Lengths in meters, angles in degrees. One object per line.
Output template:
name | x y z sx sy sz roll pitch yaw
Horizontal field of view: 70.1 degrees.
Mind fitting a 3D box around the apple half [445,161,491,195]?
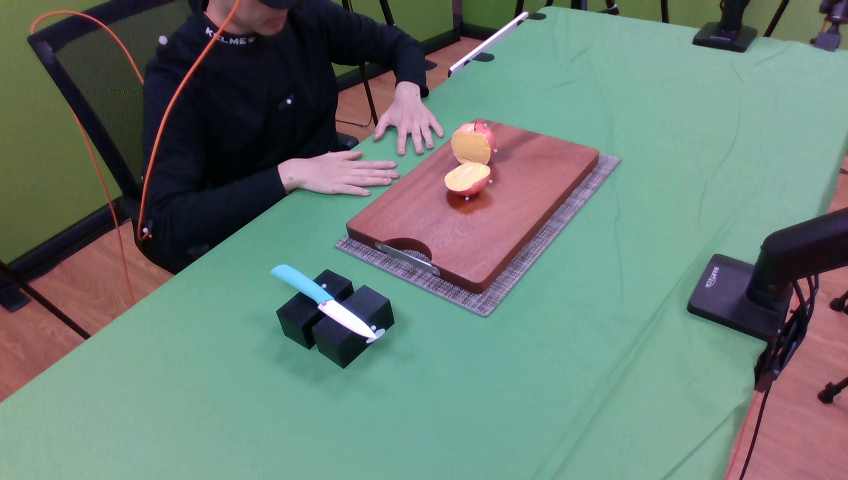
apple half | 0.076 -0.099 1.020 0.081 0.033 0.081 -16 36 12

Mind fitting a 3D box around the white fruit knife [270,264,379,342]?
white fruit knife | -0.136 0.084 0.823 0.206 0.016 0.027 30 64 30

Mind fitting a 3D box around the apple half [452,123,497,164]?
apple half | 0.095 -0.173 1.073 0.080 0.075 0.053 13 40 28
